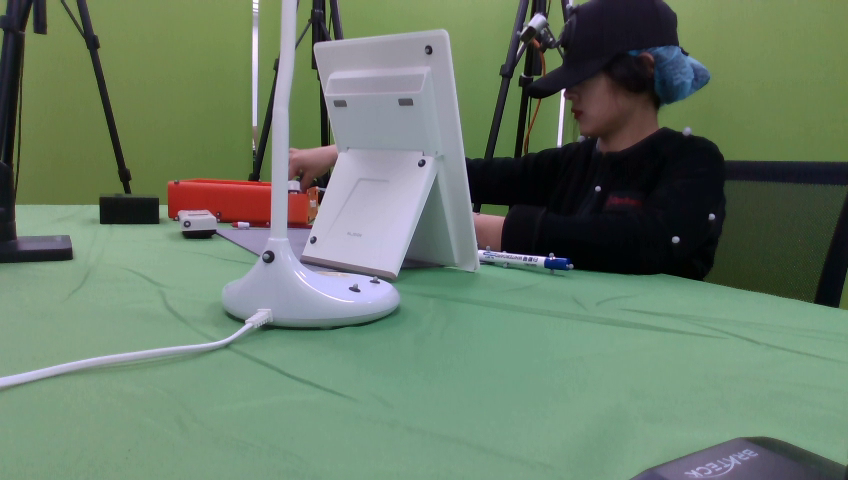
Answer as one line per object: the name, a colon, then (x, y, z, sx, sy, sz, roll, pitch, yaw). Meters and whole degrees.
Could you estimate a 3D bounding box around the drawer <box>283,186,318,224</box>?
drawer: (-0.343, -0.082, 1.309, 0.212, 0.073, 0.194, 1, 8, -4)

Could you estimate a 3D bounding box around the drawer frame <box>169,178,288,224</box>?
drawer frame: (-0.406, -0.087, 1.304, 0.214, 0.082, 0.201, 1, 8, -5)

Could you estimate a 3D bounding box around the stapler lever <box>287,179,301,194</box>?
stapler lever: (-0.279, -0.102, 1.289, 0.027, 0.040, 0.118, 7, -6, -15)

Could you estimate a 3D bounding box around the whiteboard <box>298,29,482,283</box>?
whiteboard: (-0.075, -0.082, 0.742, 0.216, 0.305, 0.144, 9, 29, 37)

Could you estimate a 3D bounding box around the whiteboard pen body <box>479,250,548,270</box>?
whiteboard pen body: (0.130, 0.028, 0.827, 0.140, 0.017, 0.017, 7, 9, 38)

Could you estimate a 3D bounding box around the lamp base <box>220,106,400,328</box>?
lamp base: (-0.101, -0.023, 0.531, 0.160, 0.180, 0.179, 4, 10, 10)

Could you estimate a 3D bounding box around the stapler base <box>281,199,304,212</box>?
stapler base: (-0.280, -0.076, 1.286, 0.041, 0.024, 0.130, 7, -5, -15)

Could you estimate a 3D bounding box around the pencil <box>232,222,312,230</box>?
pencil: (-0.261, -0.025, 1.141, 0.195, 0.012, 0.012, 2, 7, -26)

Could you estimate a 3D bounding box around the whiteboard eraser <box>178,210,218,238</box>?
whiteboard eraser: (-0.380, -0.027, 1.014, 0.056, 0.042, 0.112, 0, 8, -25)

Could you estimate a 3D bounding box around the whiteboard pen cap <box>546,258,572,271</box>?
whiteboard pen cap: (0.175, 0.032, 0.790, 0.033, 0.018, 0.018, 3, 6, 37)
